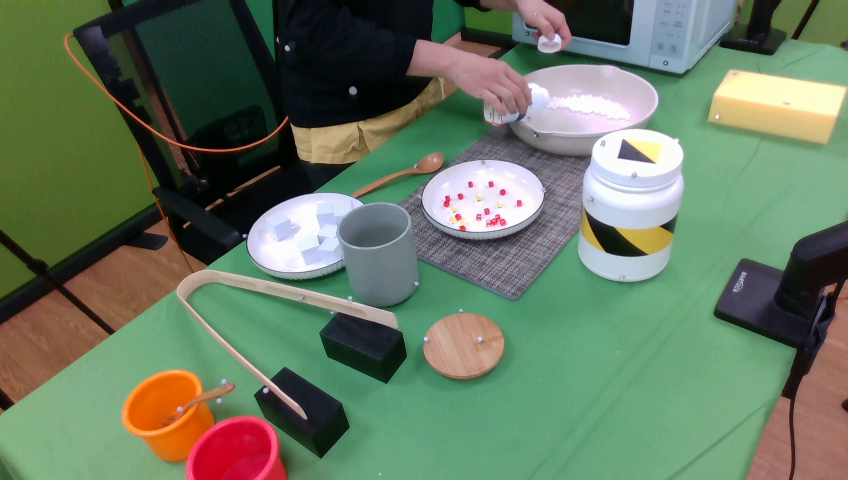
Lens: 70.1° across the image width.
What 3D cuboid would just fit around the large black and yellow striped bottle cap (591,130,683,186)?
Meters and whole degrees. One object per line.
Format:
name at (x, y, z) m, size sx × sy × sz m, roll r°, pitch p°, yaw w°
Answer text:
large black and yellow striped bottle cap at (0.282, -0.111, 0.803) m, size 0.115 × 0.019 × 0.114 m, roll -3°, pitch 41°, yaw 3°

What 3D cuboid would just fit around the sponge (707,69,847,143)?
sponge at (0.663, -0.256, 1.141) m, size 0.205 × 0.061 × 0.118 m, roll 18°, pitch 47°, yaw 28°

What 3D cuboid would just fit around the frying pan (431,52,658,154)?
frying pan at (0.216, -0.302, 1.224) m, size 0.484 × 0.103 × 0.308 m, roll 29°, pitch 49°, yaw 24°

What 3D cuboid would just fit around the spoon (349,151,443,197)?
spoon at (-0.051, -0.122, 1.120) m, size 0.194 × 0.022 × 0.041 m, roll -22°, pitch 61°, yaw -18°

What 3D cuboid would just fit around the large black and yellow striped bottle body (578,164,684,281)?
large black and yellow striped bottle body at (0.292, -0.046, 0.859) m, size 0.131 × 0.185 × 0.130 m, roll -4°, pitch 41°, yaw 4°

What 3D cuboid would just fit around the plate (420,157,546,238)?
plate at (0.099, -0.067, 1.017) m, size 0.209 × 0.038 × 0.208 m, roll -4°, pitch 40°, yaw 4°

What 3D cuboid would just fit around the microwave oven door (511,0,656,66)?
microwave oven door at (0.351, -0.540, 1.349) m, size 0.353 × 0.245 × 0.039 m, roll 24°, pitch 50°, yaw 31°

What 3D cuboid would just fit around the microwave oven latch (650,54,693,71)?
microwave oven latch at (0.531, -0.386, 1.301) m, size 0.078 × 0.029 × 0.030 m, roll 26°, pitch 51°, yaw 33°

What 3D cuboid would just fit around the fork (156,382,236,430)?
fork at (-0.262, 0.189, 0.690) m, size 0.018 × 0.206 × 0.028 m, roll 49°, pitch 43°, yaw -7°

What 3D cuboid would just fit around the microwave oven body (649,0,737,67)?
microwave oven body at (0.475, -0.602, 1.411) m, size 0.438 × 0.261 × 0.327 m, roll 23°, pitch 50°, yaw 32°

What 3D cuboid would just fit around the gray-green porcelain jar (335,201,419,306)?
gray-green porcelain jar at (-0.064, 0.024, 0.872) m, size 0.106 × 0.127 × 0.105 m, roll -4°, pitch 41°, yaw 4°

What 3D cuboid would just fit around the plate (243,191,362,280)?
plate at (-0.188, -0.005, 0.992) m, size 0.207 × 0.039 × 0.206 m, roll -4°, pitch 40°, yaw 3°

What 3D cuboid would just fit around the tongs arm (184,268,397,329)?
tongs arm at (-0.202, 0.084, 0.848) m, size 0.382 × 0.027 × 0.051 m, roll 11°, pitch 45°, yaw 35°

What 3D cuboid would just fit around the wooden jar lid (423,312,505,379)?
wooden jar lid at (0.053, 0.142, 0.800) m, size 0.108 × 0.021 × 0.108 m, roll -5°, pitch 39°, yaw 4°

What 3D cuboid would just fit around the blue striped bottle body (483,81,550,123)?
blue striped bottle body at (0.172, -0.252, 1.093) m, size 0.121 × 0.063 × 0.062 m, roll -18°, pitch 40°, yaw -30°

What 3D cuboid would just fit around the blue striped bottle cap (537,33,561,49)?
blue striped bottle cap at (0.245, -0.390, 1.184) m, size 0.044 × 0.020 × 0.044 m, roll 11°, pitch 12°, yaw -2°

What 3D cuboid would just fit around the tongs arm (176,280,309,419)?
tongs arm at (-0.254, 0.133, 0.801) m, size 0.028 × 0.028 × 0.384 m, roll -41°, pitch 41°, yaw -23°
